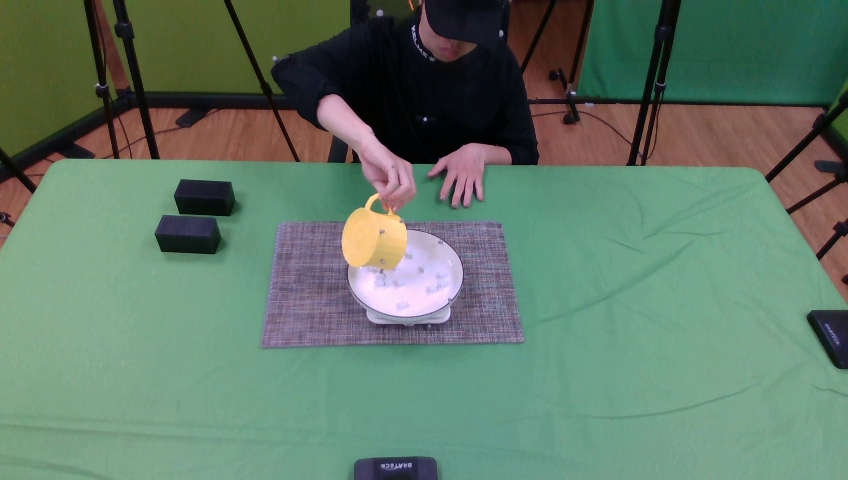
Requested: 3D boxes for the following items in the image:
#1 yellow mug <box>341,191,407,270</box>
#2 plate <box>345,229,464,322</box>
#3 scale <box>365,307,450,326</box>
[{"bbox_3d":[-0.082,-0.017,1.016,0.064,0.131,0.099,8,5,-42],"label":"yellow mug"},{"bbox_3d":[-0.034,0.065,1.072,0.209,0.038,0.208,2,46,-2],"label":"plate"},{"bbox_3d":[-0.032,0.071,1.113,0.149,0.032,0.199,0,46,-4],"label":"scale"}]
